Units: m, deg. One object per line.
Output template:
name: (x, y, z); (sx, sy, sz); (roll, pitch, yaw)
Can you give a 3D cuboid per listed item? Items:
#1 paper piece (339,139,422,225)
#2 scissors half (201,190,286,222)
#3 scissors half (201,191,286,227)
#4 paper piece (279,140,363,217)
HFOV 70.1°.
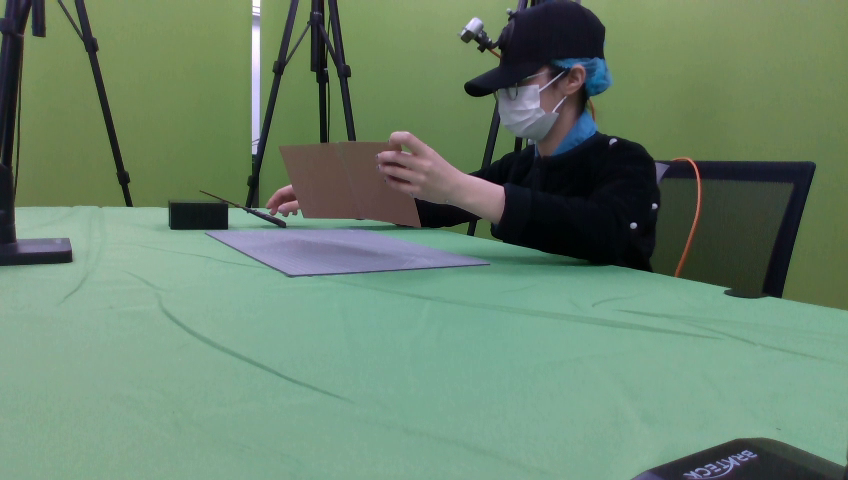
paper piece: (-0.068, -0.090, 0.919); (0.137, 0.136, 0.009); (9, 37, 43)
scissors half: (-0.364, -0.068, 1.225); (0.176, 0.013, 0.040); (22, 6, -27)
scissors half: (-0.358, -0.064, 1.206); (0.175, 0.013, 0.040); (23, 1, -10)
paper piece: (-0.172, -0.099, 1.000); (0.135, 0.135, 0.004); (2, 29, 34)
